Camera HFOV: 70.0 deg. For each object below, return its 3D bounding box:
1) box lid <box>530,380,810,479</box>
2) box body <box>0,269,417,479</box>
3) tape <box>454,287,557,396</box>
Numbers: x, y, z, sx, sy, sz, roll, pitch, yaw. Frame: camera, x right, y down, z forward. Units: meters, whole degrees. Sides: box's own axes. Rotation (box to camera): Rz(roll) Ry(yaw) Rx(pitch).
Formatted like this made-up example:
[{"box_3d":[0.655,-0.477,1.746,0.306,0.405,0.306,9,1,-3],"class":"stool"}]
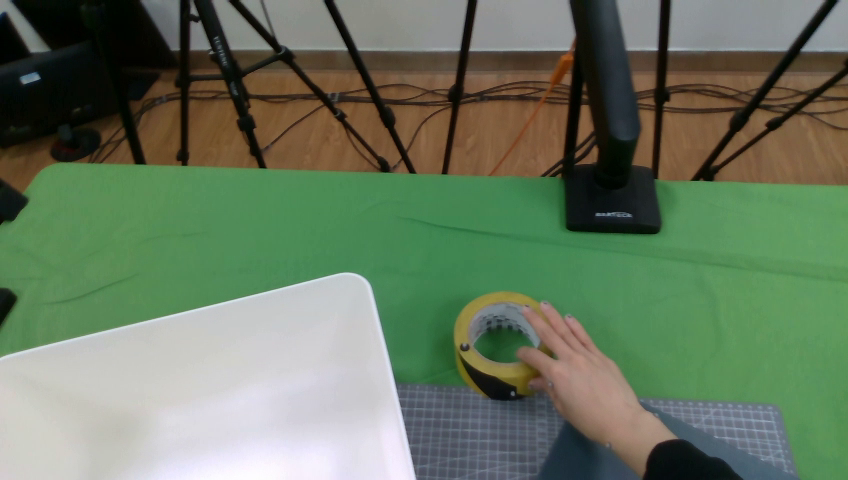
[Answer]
[{"box_3d":[0.262,0.303,0.529,0.369,0.015,0.262,25,58,22],"class":"box lid"},{"box_3d":[-0.193,0.206,0.550,0.364,0.162,0.251,-14,52,-5],"class":"box body"},{"box_3d":[0.088,0.111,0.673,0.117,0.053,0.115,-2,49,2],"class":"tape"}]
